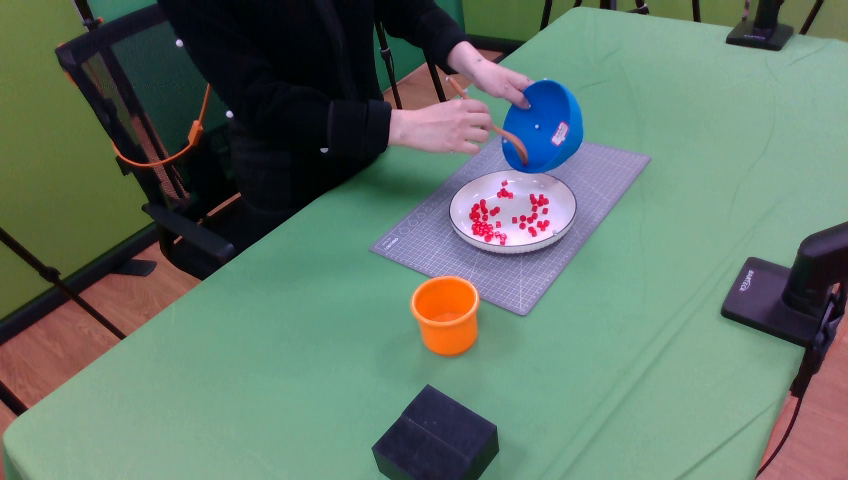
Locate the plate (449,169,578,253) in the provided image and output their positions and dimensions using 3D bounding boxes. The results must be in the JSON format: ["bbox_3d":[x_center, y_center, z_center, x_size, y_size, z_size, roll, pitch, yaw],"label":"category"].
[{"bbox_3d":[0.146,-0.044,0.993,0.209,0.038,0.208,-5,40,5],"label":"plate"}]

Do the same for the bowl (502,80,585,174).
[{"bbox_3d":[0.206,-0.175,0.981,0.077,0.151,0.150,9,28,-36],"label":"bowl"}]

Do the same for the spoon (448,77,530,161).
[{"bbox_3d":[0.102,-0.182,0.922,0.021,0.195,0.041,-49,32,13],"label":"spoon"}]
